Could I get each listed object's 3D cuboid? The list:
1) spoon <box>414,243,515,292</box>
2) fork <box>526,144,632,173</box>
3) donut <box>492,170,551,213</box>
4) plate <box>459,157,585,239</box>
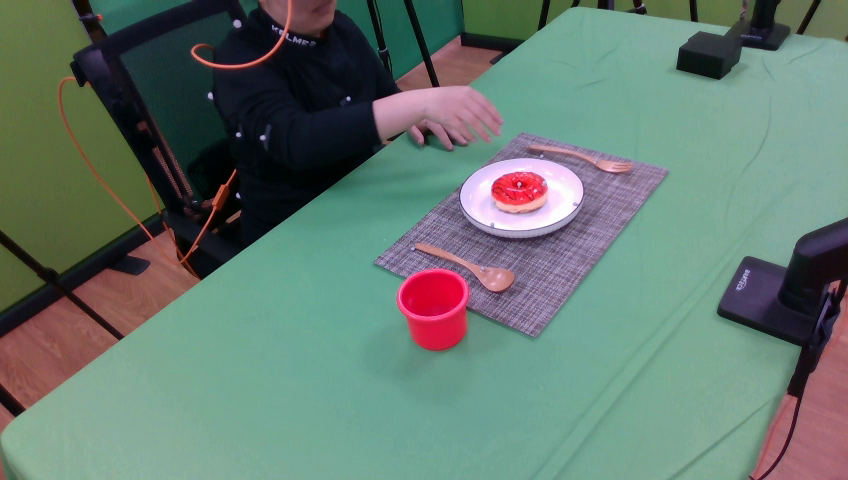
[{"bbox_3d":[0.057,0.035,0.924,0.192,0.022,0.041,24,68,34],"label":"spoon"},{"bbox_3d":[0.279,-0.153,1.108,0.206,0.019,0.028,21,56,29],"label":"fork"},{"bbox_3d":[0.163,-0.083,1.016,0.099,0.048,0.098,-6,37,5],"label":"donut"},{"bbox_3d":[0.163,-0.068,1.015,0.209,0.038,0.208,-5,40,5],"label":"plate"}]
